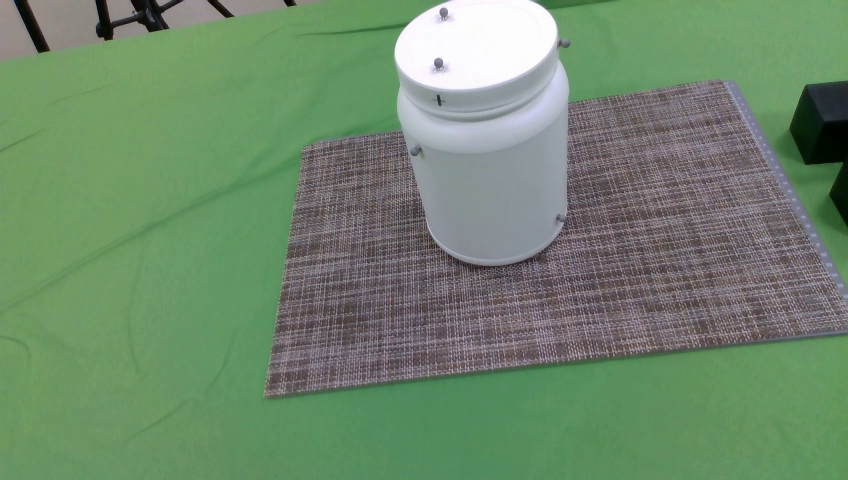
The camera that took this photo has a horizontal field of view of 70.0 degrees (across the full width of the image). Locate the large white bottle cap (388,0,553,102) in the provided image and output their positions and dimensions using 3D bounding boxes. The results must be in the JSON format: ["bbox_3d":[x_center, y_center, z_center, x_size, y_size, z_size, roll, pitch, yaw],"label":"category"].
[{"bbox_3d":[0.032,-0.139,0.425,0.115,0.018,0.113,-5,51,7],"label":"large white bottle cap"}]

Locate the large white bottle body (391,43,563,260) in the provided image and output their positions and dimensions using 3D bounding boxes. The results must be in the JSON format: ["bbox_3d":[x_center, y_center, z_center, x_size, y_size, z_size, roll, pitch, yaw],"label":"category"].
[{"bbox_3d":[0.046,-0.086,0.490,0.130,0.186,0.129,-6,51,8],"label":"large white bottle body"}]
